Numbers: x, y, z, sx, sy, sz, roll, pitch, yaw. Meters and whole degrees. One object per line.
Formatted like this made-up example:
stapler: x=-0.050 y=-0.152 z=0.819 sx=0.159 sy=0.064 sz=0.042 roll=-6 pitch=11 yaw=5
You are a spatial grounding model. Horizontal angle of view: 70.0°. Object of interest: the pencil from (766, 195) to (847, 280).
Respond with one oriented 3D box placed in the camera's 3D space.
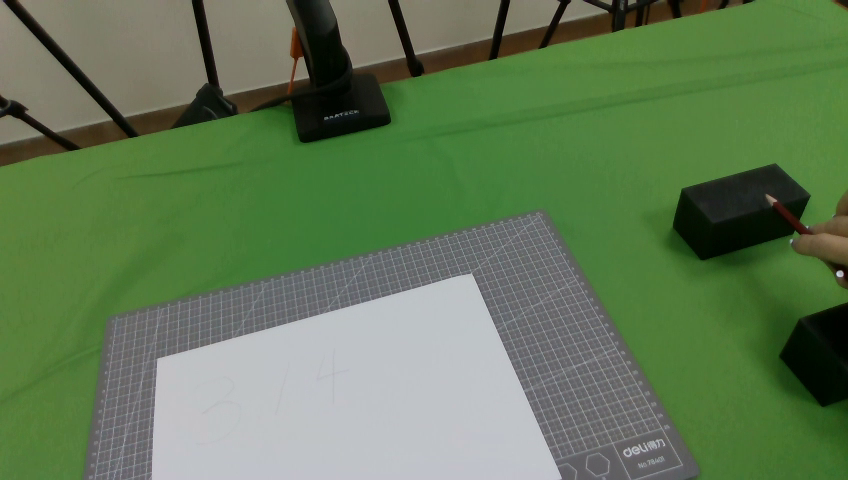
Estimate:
pencil: x=0.323 y=0.020 z=0.469 sx=0.012 sy=0.012 sz=0.192 roll=-12 pitch=40 yaw=-3
